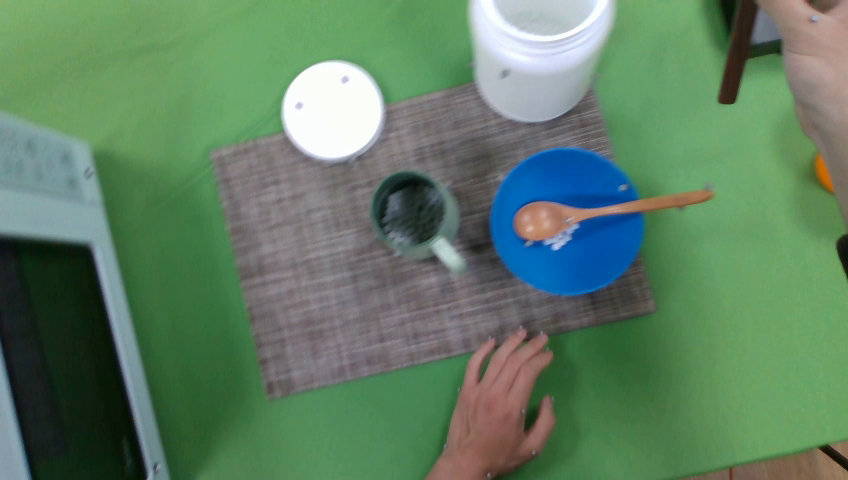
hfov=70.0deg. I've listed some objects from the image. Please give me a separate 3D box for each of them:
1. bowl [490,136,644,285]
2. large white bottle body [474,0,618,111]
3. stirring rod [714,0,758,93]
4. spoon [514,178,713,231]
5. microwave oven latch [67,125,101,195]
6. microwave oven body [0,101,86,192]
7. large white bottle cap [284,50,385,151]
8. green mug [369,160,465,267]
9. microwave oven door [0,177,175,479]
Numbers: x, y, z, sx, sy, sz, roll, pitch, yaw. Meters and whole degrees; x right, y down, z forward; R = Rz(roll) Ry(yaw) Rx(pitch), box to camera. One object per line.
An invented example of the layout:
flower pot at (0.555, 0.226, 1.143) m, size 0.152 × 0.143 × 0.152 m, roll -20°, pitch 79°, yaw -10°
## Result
bowl at (0.144, -0.027, 0.639) m, size 0.151 × 0.077 × 0.151 m, roll 0°, pitch 88°, yaw 5°
large white bottle body at (0.115, -0.216, 0.595) m, size 0.130 × 0.185 × 0.130 m, roll -1°, pitch 84°, yaw 5°
stirring rod at (0.216, -0.173, 0.396) m, size 0.014 × 0.178 × 0.005 m, roll 2°, pitch 47°, yaw 12°
spoon at (0.184, -0.039, 0.608) m, size 0.193 × 0.022 × 0.041 m, roll -8°, pitch 89°, yaw 28°
microwave oven latch at (-0.396, -0.088, 0.691) m, size 0.030 × 0.029 × 0.079 m, roll -15°, pitch 87°, yaw 3°
microwave oven body at (-0.502, 0.116, 0.595) m, size 0.326 × 0.260 × 0.441 m, roll -15°, pitch 87°, yaw 3°
large white bottle cap at (-0.102, -0.159, 0.693) m, size 0.115 × 0.018 × 0.114 m, roll 0°, pitch 87°, yaw 4°
green mug at (0.000, -0.023, 0.637) m, size 0.092 × 0.105 × 0.125 m, roll -40°, pitch 85°, yaw 1°
microwave oven door at (-0.350, 0.118, 0.578) m, size 0.039 × 0.244 × 0.355 m, roll -16°, pitch 87°, yaw 4°
